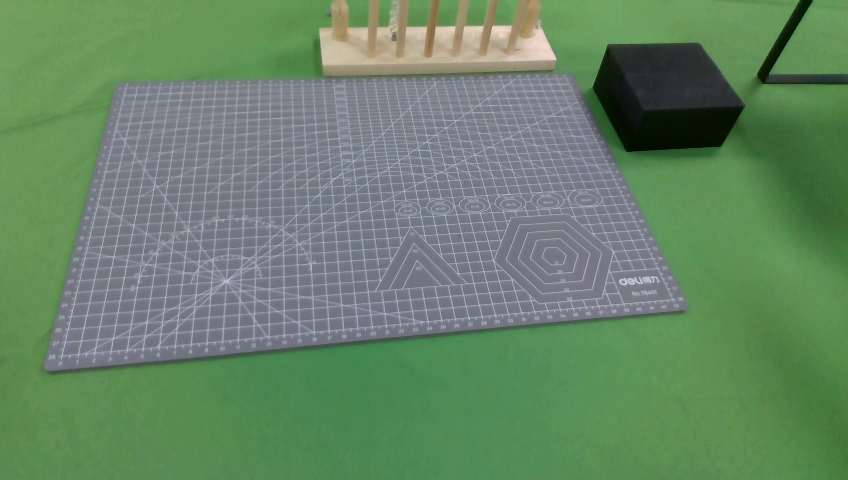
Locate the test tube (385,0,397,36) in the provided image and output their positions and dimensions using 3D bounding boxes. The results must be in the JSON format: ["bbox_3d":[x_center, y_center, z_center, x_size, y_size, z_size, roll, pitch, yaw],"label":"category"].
[{"bbox_3d":[-0.023,-0.266,0.580,0.017,0.151,0.017,6,46,-6],"label":"test tube"}]

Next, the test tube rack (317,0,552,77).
[{"bbox_3d":[0.014,-0.223,0.614,0.243,0.086,0.066,-4,51,-10],"label":"test tube rack"}]
